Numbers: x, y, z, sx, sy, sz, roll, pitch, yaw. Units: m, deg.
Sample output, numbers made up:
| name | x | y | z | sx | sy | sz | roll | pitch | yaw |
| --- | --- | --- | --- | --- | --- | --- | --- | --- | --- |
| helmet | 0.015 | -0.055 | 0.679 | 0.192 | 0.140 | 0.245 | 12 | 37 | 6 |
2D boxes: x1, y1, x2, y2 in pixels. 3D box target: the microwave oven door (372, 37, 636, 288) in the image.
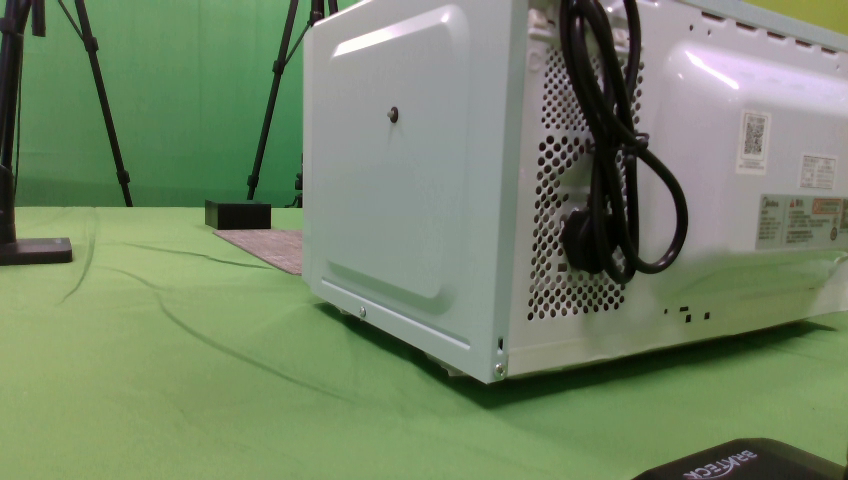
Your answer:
| name | x | y | z | sx | sy | sz | roll | pitch | yaw |
| --- | --- | --- | --- | --- | --- | --- | --- | --- | --- |
| microwave oven door | 0.110 | -0.080 | 0.686 | 0.358 | 0.243 | 0.039 | -2 | 9 | -33 |

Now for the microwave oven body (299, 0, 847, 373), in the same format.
| name | x | y | z | sx | sy | sz | roll | pitch | yaw |
| --- | --- | --- | --- | --- | --- | --- | --- | --- | --- |
| microwave oven body | 0.151 | -0.055 | 0.543 | 0.444 | 0.260 | 0.324 | -2 | 8 | -33 |

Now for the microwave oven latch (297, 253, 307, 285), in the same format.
| name | x | y | z | sx | sy | sz | roll | pitch | yaw |
| --- | --- | --- | --- | --- | --- | --- | --- | --- | --- |
| microwave oven latch | -0.081 | 0.027 | 0.582 | 0.079 | 0.029 | 0.030 | -1 | 7 | -31 |
